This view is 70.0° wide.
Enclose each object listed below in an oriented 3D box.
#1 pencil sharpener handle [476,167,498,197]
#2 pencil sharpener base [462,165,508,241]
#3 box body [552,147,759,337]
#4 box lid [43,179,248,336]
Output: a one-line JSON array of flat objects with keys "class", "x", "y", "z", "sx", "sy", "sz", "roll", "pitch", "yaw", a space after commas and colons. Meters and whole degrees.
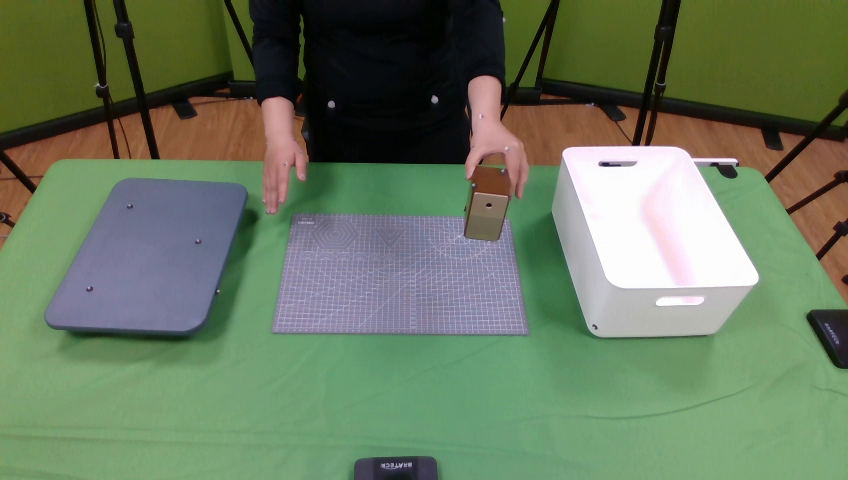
[{"class": "pencil sharpener handle", "x": 0.103, "y": -0.105, "z": 1.031, "sx": 0.036, "sy": 0.068, "sz": 0.030, "roll": 13, "pitch": 44, "yaw": -7}, {"class": "pencil sharpener base", "x": 0.100, "y": -0.061, "z": 1.003, "sx": 0.061, "sy": 0.107, "sz": 0.076, "roll": 6, "pitch": 44, "yaw": -1}, {"class": "box body", "x": 0.401, "y": -0.001, "z": 1.131, "sx": 0.254, "sy": 0.161, "sz": 0.361, "roll": -1, "pitch": 46, "yaw": -5}, {"class": "box lid", "x": -0.484, "y": 0.017, "z": 1.093, "sx": 0.263, "sy": 0.015, "sz": 0.369, "roll": 2, "pitch": 46, "yaw": -2}]
